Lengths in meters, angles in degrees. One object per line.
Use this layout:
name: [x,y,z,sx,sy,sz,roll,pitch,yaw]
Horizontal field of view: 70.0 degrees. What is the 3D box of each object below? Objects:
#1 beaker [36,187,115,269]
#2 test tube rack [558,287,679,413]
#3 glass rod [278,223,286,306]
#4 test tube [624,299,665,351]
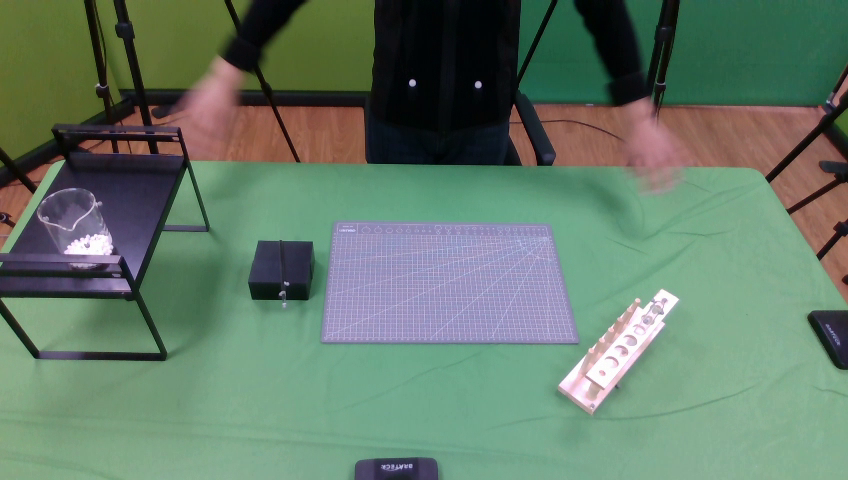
beaker: [-0.493,-0.012,0.867,0.074,0.101,0.083,-18,51,-18]
test tube rack: [0.326,0.170,1.009,0.066,0.085,0.242,36,54,26]
glass rod: [-0.255,0.039,1.081,0.008,0.008,0.198,-7,47,-10]
test tube: [0.350,0.140,0.970,0.017,0.151,0.017,2,52,-3]
